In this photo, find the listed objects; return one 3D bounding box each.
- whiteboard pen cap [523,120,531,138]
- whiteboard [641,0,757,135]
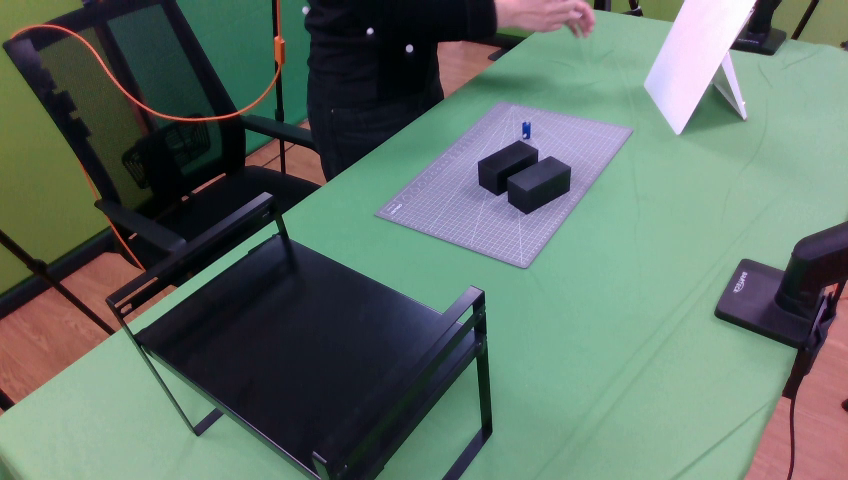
[{"bbox_3d":[0.203,-0.216,1.186,0.018,0.033,0.018,-6,41,6],"label":"whiteboard pen cap"},{"bbox_3d":[0.575,-0.367,1.147,0.144,0.305,0.216,10,39,-9],"label":"whiteboard"}]
